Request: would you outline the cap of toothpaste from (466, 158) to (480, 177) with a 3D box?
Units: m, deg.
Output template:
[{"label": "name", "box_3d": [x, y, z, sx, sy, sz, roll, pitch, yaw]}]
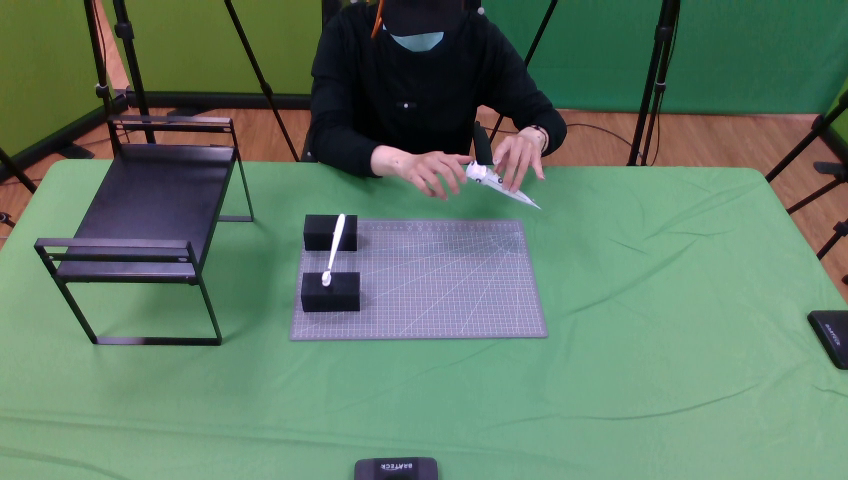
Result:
[{"label": "cap of toothpaste", "box_3d": [0.092, -0.135, 1.134, 0.011, 0.037, 0.037, 23, 41, -24]}]

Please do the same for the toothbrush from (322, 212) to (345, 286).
[{"label": "toothbrush", "box_3d": [-0.164, 0.011, 1.101, 0.014, 0.017, 0.181, -6, 44, 12]}]

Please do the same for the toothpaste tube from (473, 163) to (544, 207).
[{"label": "toothpaste tube", "box_3d": [0.158, -0.104, 1.164, 0.166, 0.034, 0.054, 24, 19, -24]}]
